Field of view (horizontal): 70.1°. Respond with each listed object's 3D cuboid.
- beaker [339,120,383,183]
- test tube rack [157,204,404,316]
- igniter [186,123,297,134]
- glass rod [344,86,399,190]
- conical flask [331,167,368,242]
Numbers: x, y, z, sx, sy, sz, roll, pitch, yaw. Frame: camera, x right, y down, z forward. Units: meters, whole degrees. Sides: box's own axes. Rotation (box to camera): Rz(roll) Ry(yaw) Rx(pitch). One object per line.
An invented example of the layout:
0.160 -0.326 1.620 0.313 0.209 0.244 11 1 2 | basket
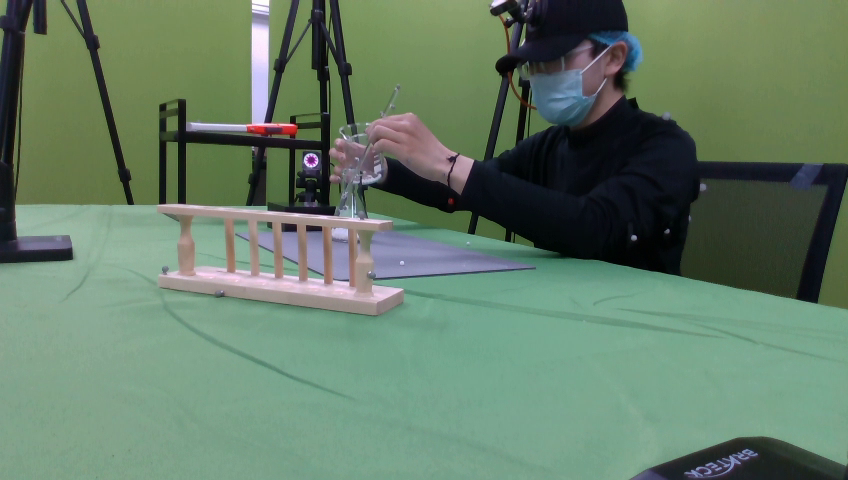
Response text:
-0.115 -0.161 1.117 0.074 0.100 0.084 7 30 23 | beaker
-0.143 0.013 0.599 0.242 0.085 0.067 5 8 19 | test tube rack
-0.393 -0.248 1.341 0.057 0.025 0.278 9 14 38 | igniter
-0.087 -0.162 0.985 0.008 0.199 0.008 25 26 -13 | glass rod
-0.123 -0.061 1.019 0.075 0.122 0.075 3 7 0 | conical flask
